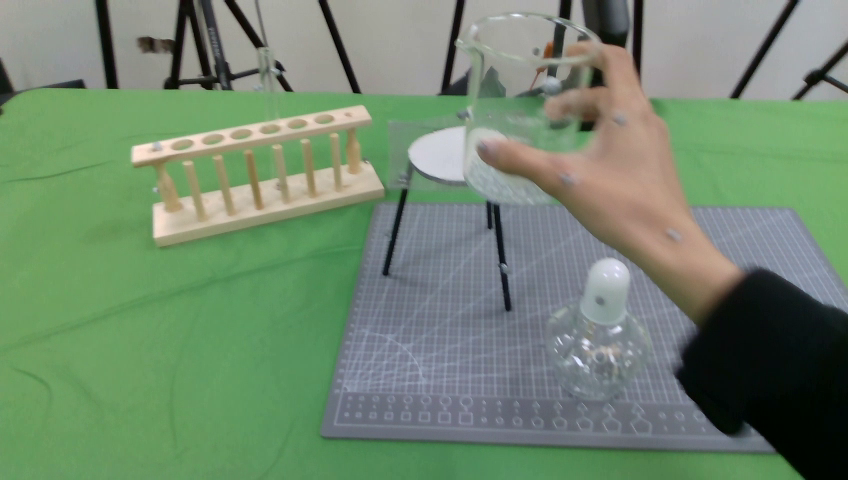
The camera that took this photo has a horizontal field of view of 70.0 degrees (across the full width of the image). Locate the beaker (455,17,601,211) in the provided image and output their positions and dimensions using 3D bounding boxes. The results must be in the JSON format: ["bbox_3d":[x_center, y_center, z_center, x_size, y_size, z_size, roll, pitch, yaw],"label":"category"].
[{"bbox_3d":[0.057,-0.075,0.376,0.084,0.101,0.073,1,39,-4],"label":"beaker"}]

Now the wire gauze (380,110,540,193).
[{"bbox_3d":[0.025,-0.073,0.498,0.125,0.011,0.120,-3,39,0],"label":"wire gauze"}]

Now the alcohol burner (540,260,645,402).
[{"bbox_3d":[0.127,0.063,0.448,0.078,0.120,0.077,0,37,1],"label":"alcohol burner"}]

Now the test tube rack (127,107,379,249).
[{"bbox_3d":[-0.176,-0.070,0.651,0.243,0.086,0.066,-14,41,-15],"label":"test tube rack"}]

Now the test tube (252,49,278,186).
[{"bbox_3d":[-0.165,-0.124,0.637,0.017,0.151,0.017,3,33,-1],"label":"test tube"}]

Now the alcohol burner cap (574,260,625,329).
[{"bbox_3d":[0.124,0.036,0.426,0.034,0.048,0.033,-2,41,2],"label":"alcohol burner cap"}]

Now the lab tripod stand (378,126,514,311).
[{"bbox_3d":[0.027,-0.022,0.541,0.148,0.133,0.147,-2,41,2],"label":"lab tripod stand"}]
